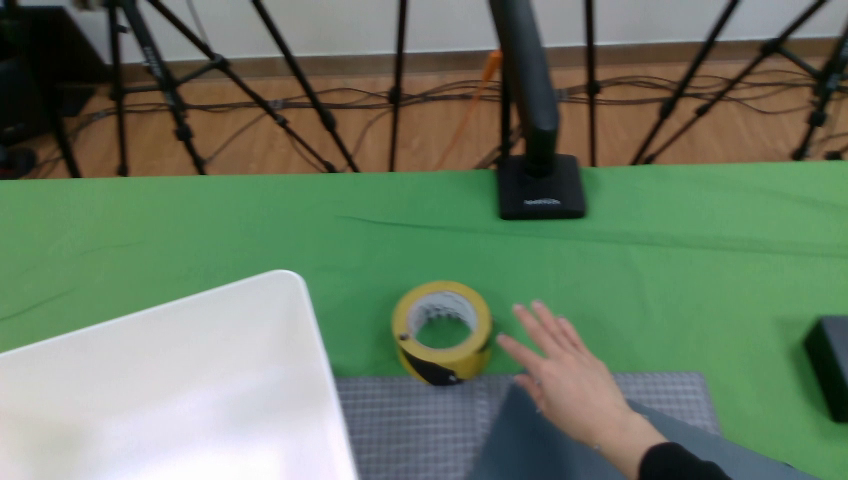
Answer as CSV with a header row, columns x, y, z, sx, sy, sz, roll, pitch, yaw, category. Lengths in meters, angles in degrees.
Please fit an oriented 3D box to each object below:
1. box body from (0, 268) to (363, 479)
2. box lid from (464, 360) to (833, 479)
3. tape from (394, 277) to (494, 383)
x,y,z,sx,sy,sz,roll,pitch,yaw,category
-0.245,0.212,0.554,0.364,0.162,0.251,-17,52,-9,box body
0.216,0.282,0.560,0.369,0.015,0.262,20,56,19,box lid
0.022,0.101,0.694,0.117,0.053,0.115,-2,49,3,tape
